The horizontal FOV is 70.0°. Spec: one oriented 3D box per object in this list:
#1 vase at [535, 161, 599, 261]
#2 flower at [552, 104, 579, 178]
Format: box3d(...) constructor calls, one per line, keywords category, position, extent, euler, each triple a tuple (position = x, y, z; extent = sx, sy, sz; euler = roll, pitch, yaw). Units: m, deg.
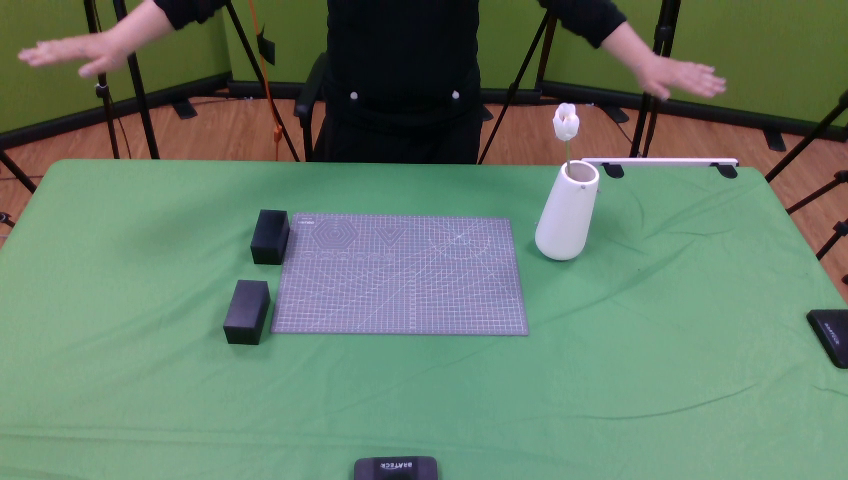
box3d(category="vase", position=(0.270, -0.051, 1.145), extent=(0.098, 0.201, 0.097), euler=(1, 46, -1))
box3d(category="flower", position=(0.258, -0.102, 1.079), extent=(0.038, 0.364, 0.043), euler=(-25, 55, -1))
